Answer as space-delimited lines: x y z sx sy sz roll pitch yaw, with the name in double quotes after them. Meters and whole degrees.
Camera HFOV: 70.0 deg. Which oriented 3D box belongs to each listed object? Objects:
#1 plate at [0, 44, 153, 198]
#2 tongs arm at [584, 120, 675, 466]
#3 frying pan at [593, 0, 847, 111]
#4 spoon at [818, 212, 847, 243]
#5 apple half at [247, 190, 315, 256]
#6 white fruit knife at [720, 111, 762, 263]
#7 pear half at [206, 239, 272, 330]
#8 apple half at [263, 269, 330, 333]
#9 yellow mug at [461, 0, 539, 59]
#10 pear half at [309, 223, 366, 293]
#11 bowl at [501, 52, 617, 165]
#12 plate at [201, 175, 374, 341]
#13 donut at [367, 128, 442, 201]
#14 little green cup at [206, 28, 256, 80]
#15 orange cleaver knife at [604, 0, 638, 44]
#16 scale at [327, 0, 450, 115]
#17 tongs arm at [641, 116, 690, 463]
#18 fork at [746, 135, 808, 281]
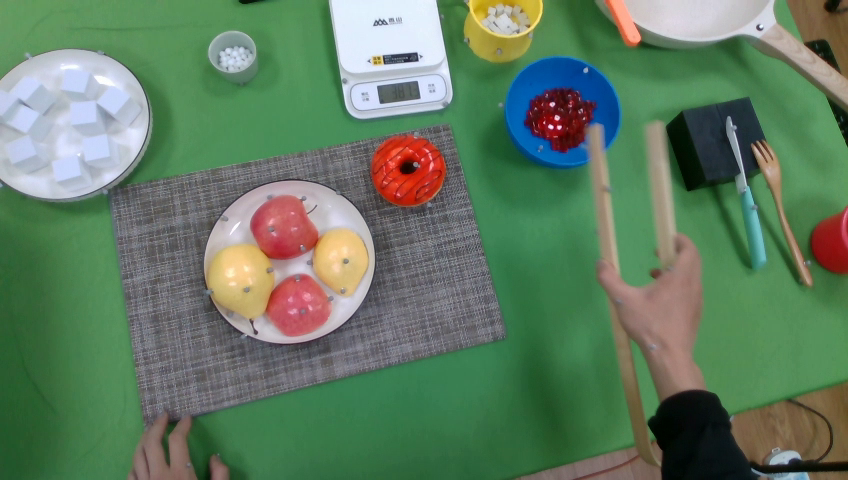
-0.450 -0.149 0.773 0.208 0.039 0.206 1 77 -4 "plate"
0.226 0.058 0.668 0.051 0.026 0.384 -6 89 -23 "tongs arm"
0.424 -0.334 0.849 0.306 0.103 0.485 -40 75 -10 "frying pan"
0.580 0.019 0.762 0.041 0.022 0.191 -18 35 -8 "spoon"
-0.179 -0.023 0.744 0.075 0.053 0.080 -25 83 -6 "apple half"
0.418 -0.069 0.802 0.016 0.027 0.207 -15 94 -7 "white fruit knife"
-0.215 0.053 0.720 0.076 0.056 0.109 -18 82 -17 "pear half"
-0.158 0.072 0.734 0.081 0.033 0.081 1 70 -2 "apple half"
0.092 -0.323 0.840 0.130 0.064 0.100 43 78 6 "yellow mug"
-0.110 0.020 0.751 0.070 0.031 0.087 -14 76 6 "pear half"
0.170 -0.163 0.805 0.151 0.077 0.150 1 79 -5 "bowl"
-0.166 0.022 0.753 0.209 0.038 0.208 1 77 -4 "plate"
-0.026 -0.098 0.788 0.099 0.048 0.098 0 79 -2 "donut"
-0.255 -0.246 0.810 0.061 0.039 0.061 1 77 -4 "little green cup"
0.251 -0.364 0.822 0.077 0.012 0.210 -22 80 -12 "orange cleaver knife"
-0.050 -0.276 0.836 0.149 0.031 0.200 -9 79 -6 "scale"
0.270 0.053 0.686 0.028 0.027 0.387 -3 88 -26 "tongs arm"
0.474 -0.042 0.808 0.028 0.018 0.207 -22 95 -11 "fork"
